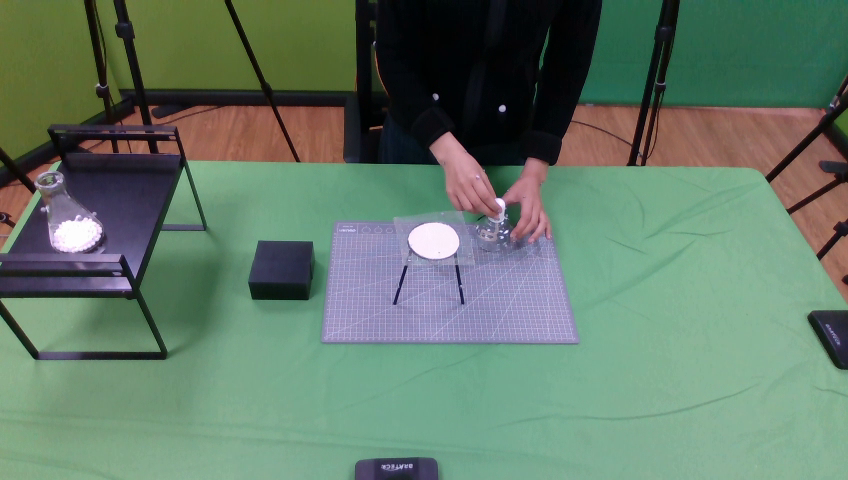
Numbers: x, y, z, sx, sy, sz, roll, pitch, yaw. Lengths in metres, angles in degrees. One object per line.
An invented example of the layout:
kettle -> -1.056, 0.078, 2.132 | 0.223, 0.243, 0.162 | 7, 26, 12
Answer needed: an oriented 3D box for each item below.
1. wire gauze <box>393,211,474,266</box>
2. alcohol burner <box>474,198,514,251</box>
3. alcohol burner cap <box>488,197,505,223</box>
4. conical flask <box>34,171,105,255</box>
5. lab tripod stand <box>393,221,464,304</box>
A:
wire gauze -> 0.015, -0.003, 1.028 | 0.125, 0.011, 0.120 | -4, 47, -7
alcohol burner -> 0.137, -0.035, 1.176 | 0.078, 0.120, 0.077 | 1, 47, -1
alcohol burner cap -> 0.139, -0.059, 1.148 | 0.034, 0.048, 0.033 | 0, 48, 0
conical flask -> -0.522, -0.043, 0.879 | 0.075, 0.122, 0.075 | 2, 46, -2
lab tripod stand -> 0.010, 0.045, 1.075 | 0.148, 0.132, 0.147 | 2, 48, -2
